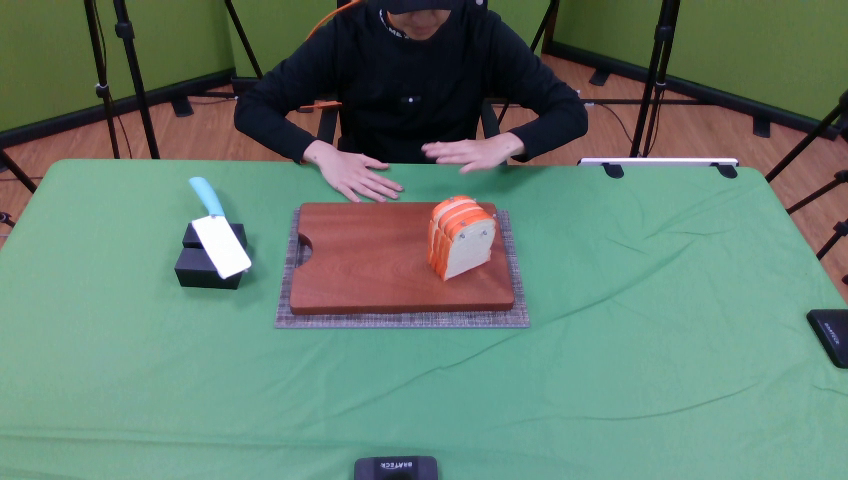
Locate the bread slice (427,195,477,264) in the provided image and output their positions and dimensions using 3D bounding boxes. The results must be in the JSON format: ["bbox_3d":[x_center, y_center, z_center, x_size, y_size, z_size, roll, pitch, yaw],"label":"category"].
[{"bbox_3d":[0.052,-0.024,1.107,0.105,0.132,0.019,-22,46,-25],"label":"bread slice"}]

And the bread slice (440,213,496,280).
[{"bbox_3d":[0.078,0.008,1.077,0.107,0.135,0.018,-24,55,-21],"label":"bread slice"}]

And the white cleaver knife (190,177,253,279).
[{"bbox_3d":[-0.397,-0.031,1.137,0.066,0.021,0.284,-20,49,-24],"label":"white cleaver knife"}]
